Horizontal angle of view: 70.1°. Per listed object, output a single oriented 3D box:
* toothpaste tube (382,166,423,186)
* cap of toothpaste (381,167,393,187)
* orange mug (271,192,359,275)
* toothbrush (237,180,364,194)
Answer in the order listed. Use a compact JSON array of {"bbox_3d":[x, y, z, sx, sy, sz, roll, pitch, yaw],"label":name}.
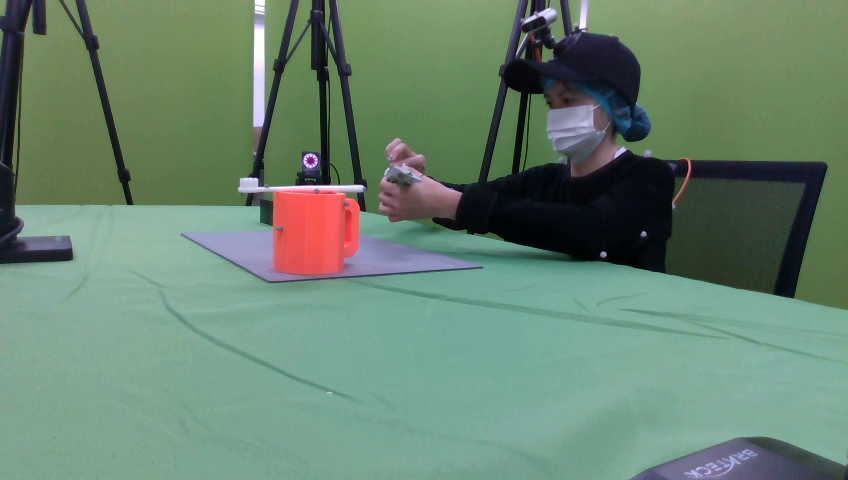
[{"bbox_3d":[-0.043,-0.107,0.993,0.055,0.034,0.164,20,-1,-13],"label":"toothpaste tube"},{"bbox_3d":[-0.058,-0.113,1.072,0.037,0.037,0.011,0,4,-19],"label":"cap of toothpaste"},{"bbox_3d":[-0.131,-0.013,0.754,0.083,0.101,0.127,8,13,38],"label":"orange mug"},{"bbox_3d":[-0.144,-0.064,0.737,0.014,0.016,0.183,4,6,43],"label":"toothbrush"}]
